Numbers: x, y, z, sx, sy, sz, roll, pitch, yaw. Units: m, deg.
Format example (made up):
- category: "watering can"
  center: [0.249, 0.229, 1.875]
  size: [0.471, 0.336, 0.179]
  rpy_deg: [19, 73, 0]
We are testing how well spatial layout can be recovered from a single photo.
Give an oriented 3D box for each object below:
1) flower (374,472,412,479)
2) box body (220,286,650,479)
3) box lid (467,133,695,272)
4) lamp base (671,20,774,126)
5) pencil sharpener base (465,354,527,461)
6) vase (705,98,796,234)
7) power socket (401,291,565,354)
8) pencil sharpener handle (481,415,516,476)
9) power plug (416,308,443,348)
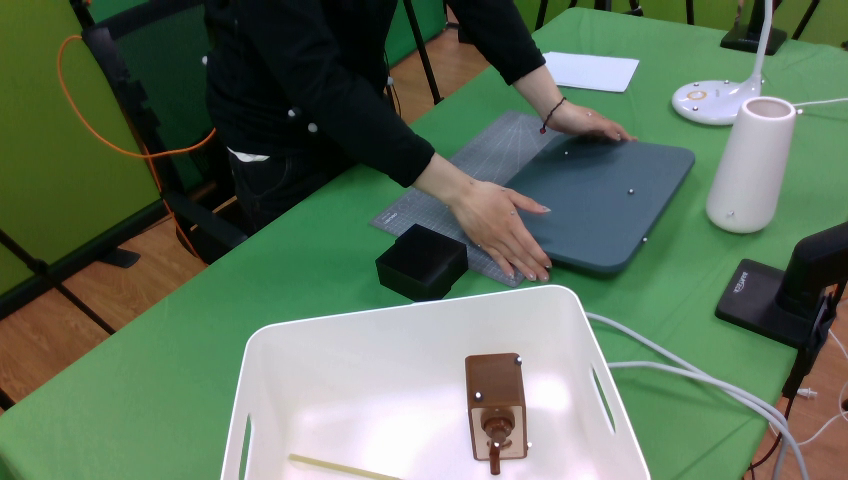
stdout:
- category: "flower"
  center: [0.017, 0.270, 0.655]
  size: [0.360, 0.038, 0.044]
  rpy_deg: [3, 17, 21]
- category: "box body"
  center: [0.006, 0.210, 0.618]
  size: [0.364, 0.161, 0.252]
  rpy_deg: [-8, 40, -1]
- category: "box lid"
  center: [0.266, -0.080, 1.003]
  size: [0.261, 0.015, 0.372]
  rpy_deg: [16, 42, 32]
- category: "lamp base"
  center: [0.581, -0.332, 1.154]
  size: [0.179, 0.181, 0.160]
  rpy_deg: [2, 41, 7]
- category: "pencil sharpener base"
  center: [0.080, 0.188, 0.665]
  size: [0.061, 0.107, 0.076]
  rpy_deg: [-4, 40, 4]
- category: "vase"
  center: [0.480, -0.104, 0.889]
  size: [0.098, 0.201, 0.097]
  rpy_deg: [-4, 42, 4]
- category: "power socket"
  center: [0.080, 0.111, 0.823]
  size: [0.227, 0.033, 0.072]
  rpy_deg: [-5, 41, 1]
- category: "pencil sharpener handle"
  center: [0.076, 0.211, 0.618]
  size: [0.036, 0.068, 0.030]
  rpy_deg: [0, 40, 1]
- category: "power plug"
  center: [0.005, 0.121, 0.787]
  size: [0.035, 0.053, 0.072]
  rpy_deg: [2, 46, 8]
